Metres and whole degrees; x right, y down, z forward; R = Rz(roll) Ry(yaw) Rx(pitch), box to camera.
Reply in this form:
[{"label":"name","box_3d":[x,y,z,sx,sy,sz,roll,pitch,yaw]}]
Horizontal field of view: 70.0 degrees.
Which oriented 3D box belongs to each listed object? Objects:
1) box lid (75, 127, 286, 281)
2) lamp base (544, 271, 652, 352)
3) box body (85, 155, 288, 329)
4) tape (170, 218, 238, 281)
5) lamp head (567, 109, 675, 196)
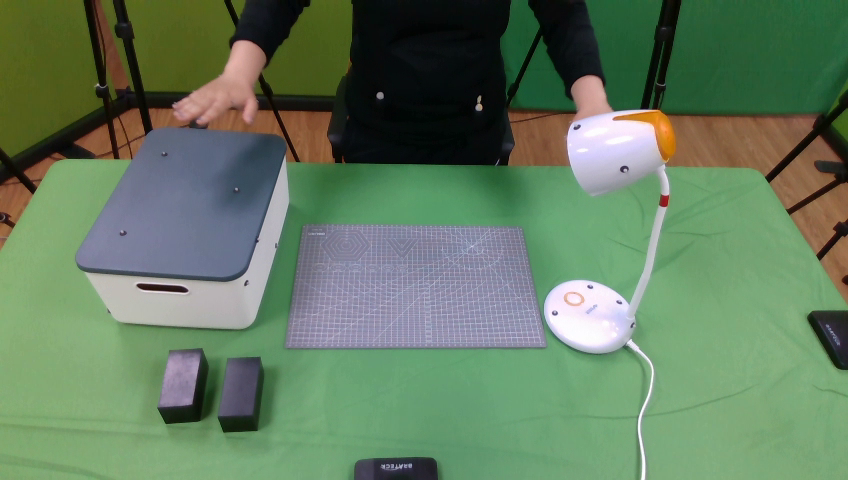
[{"label":"box lid","box_3d":[-0.398,-0.075,1.039,0.263,0.015,0.369,4,45,-1]},{"label":"lamp base","box_3d":[0.309,0.086,1.029,0.178,0.181,0.160,32,52,21]},{"label":"box body","box_3d":[-0.401,-0.025,1.094,0.254,0.161,0.362,3,46,-1]},{"label":"tape","box_3d":[-0.406,0.017,1.121,0.117,0.053,0.116,2,46,-2]},{"label":"lamp head","box_3d":[0.272,-0.123,0.818,0.122,0.113,0.112,-9,35,37]}]
